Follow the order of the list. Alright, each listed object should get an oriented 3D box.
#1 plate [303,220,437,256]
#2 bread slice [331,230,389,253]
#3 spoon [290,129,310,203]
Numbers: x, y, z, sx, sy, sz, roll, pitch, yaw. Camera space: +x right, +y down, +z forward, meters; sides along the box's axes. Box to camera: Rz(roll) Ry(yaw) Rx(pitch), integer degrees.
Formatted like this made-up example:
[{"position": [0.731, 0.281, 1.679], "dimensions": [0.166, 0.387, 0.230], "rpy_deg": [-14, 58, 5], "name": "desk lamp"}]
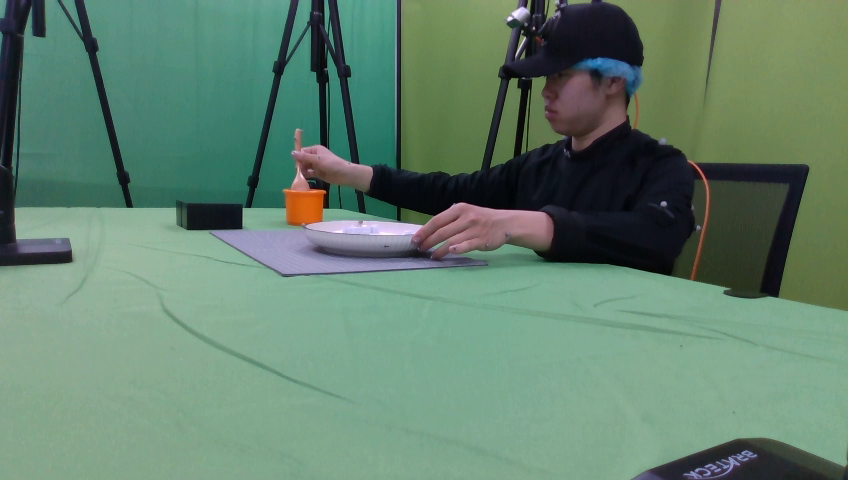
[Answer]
[{"position": [-0.084, -0.003, 0.951], "dimensions": [0.209, 0.038, 0.209], "rpy_deg": [3, 7, 0], "name": "plate"}, {"position": [-0.088, 0.000, 0.947], "dimensions": [0.105, 0.019, 0.131], "rpy_deg": [-4, 11, -44], "name": "bread slice"}, {"position": [-0.278, -0.166, 1.338], "dimensions": [0.042, 0.193, 0.021], "rpy_deg": [-1, -31, -15], "name": "spoon"}]
